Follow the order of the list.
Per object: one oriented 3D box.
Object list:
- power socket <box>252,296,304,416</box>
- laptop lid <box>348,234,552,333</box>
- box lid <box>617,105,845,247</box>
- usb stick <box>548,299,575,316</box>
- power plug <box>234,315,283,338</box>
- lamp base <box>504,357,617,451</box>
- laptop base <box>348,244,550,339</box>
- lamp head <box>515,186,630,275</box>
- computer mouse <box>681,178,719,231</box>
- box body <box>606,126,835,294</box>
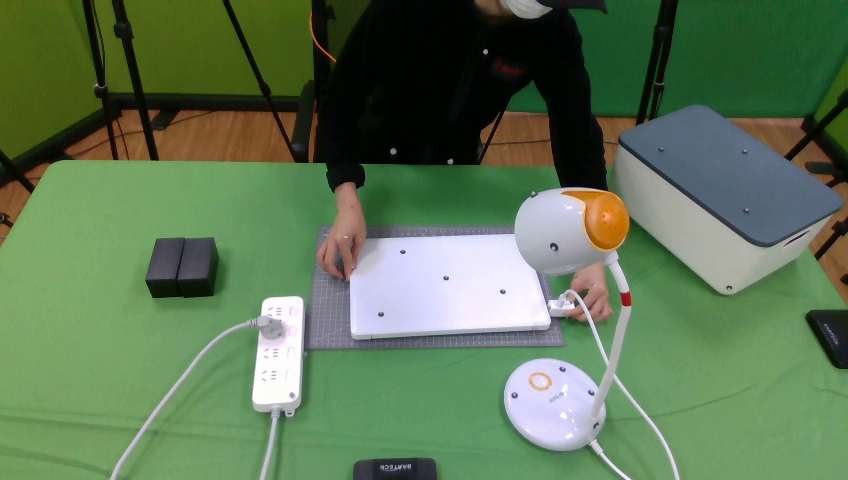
[{"bbox_3d":[-0.238,0.181,0.997,0.072,0.033,0.225,-3,47,-5],"label":"power socket"},{"bbox_3d":[0.039,0.072,1.116,0.357,0.013,0.240,-1,44,-5],"label":"laptop lid"},{"bbox_3d":[0.586,-0.138,1.176,0.263,0.015,0.369,-22,51,-23],"label":"box lid"},{"bbox_3d":[0.238,0.122,1.085,0.059,0.027,0.021,0,47,-3],"label":"usb stick"},{"bbox_3d":[-0.269,0.143,1.000,0.072,0.053,0.035,4,47,3],"label":"power plug"},{"bbox_3d":[0.220,0.211,0.903,0.160,0.181,0.178,-33,59,-30],"label":"lamp base"},{"bbox_3d":[0.038,0.083,1.124,0.355,0.023,0.234,-2,43,-6],"label":"laptop base"},{"bbox_3d":[0.188,-0.013,0.728,0.112,0.112,0.122,-25,9,-25],"label":"lamp head"},{"bbox_3d":[0.596,-0.078,1.290,0.117,0.041,0.062,56,45,-7],"label":"computer mouse"},{"bbox_3d":[0.582,-0.088,1.230,0.254,0.161,0.361,-22,52,-23],"label":"box body"}]
